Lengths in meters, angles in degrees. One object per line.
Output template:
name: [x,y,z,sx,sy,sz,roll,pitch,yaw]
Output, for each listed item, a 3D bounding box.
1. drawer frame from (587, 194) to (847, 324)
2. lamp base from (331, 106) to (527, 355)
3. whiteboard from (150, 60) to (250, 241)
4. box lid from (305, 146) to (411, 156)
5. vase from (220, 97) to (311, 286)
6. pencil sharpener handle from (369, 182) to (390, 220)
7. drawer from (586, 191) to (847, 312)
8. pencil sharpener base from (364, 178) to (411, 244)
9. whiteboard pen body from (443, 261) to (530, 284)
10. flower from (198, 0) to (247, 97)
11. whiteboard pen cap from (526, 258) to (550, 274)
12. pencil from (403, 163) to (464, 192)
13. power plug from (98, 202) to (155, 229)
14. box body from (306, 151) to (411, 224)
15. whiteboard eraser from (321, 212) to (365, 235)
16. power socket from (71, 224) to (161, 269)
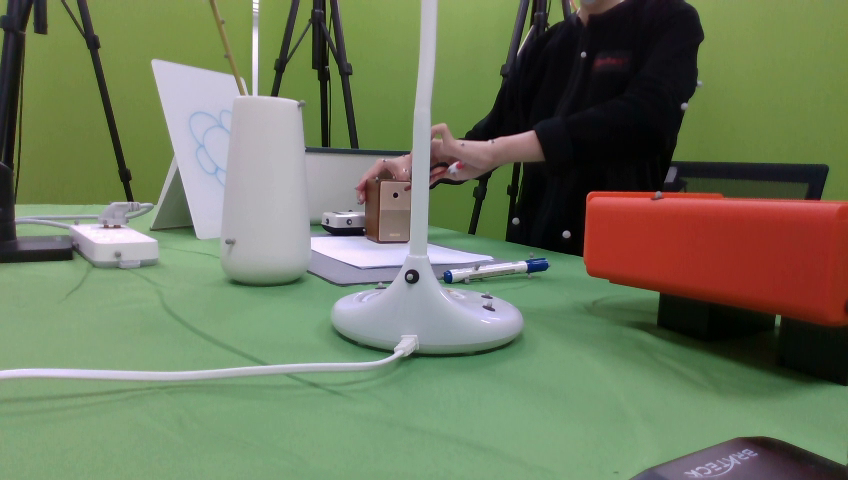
drawer frame: [0.285,0.004,0.508,0.203,0.082,0.212,-1,6,-29]
lamp base: [0.006,-0.012,0.478,0.161,0.180,0.179,2,10,2]
whiteboard: [-0.408,-0.139,1.093,0.143,0.305,0.218,-15,-1,26]
box lid: [-0.229,-0.200,1.361,0.373,0.015,0.262,-3,9,-33]
vase: [-0.172,-0.052,0.662,0.098,0.200,0.098,3,8,0]
pencil sharpener handle: [-0.085,-0.070,1.074,0.036,0.067,0.030,7,4,-26]
drawer: [0.281,0.001,0.513,0.195,0.073,0.210,-1,8,-29]
pencil sharpener base: [-0.062,-0.051,1.031,0.061,0.107,0.076,-1,8,-25]
whiteboard pen body: [0.087,0.037,0.734,0.141,0.017,0.017,-5,10,-27]
flower: [-0.187,-0.133,0.648,0.038,0.362,0.044,-1,22,43]
whiteboard pen cap: [0.141,0.033,0.758,0.033,0.018,0.018,-7,11,-27]
pencil: [0.008,-0.089,0.894,0.012,0.012,0.193,-1,-5,-26]
power plug: [-0.416,-0.027,0.848,0.073,0.052,0.035,0,8,-28]
box body: [-0.230,-0.126,1.371,0.366,0.160,0.253,-2,8,-33]
whiteboard eraser: [-0.128,-0.031,1.108,0.113,0.042,0.055,-3,8,-38]
power socket: [-0.408,0.004,0.793,0.072,0.032,0.225,-2,8,-38]
